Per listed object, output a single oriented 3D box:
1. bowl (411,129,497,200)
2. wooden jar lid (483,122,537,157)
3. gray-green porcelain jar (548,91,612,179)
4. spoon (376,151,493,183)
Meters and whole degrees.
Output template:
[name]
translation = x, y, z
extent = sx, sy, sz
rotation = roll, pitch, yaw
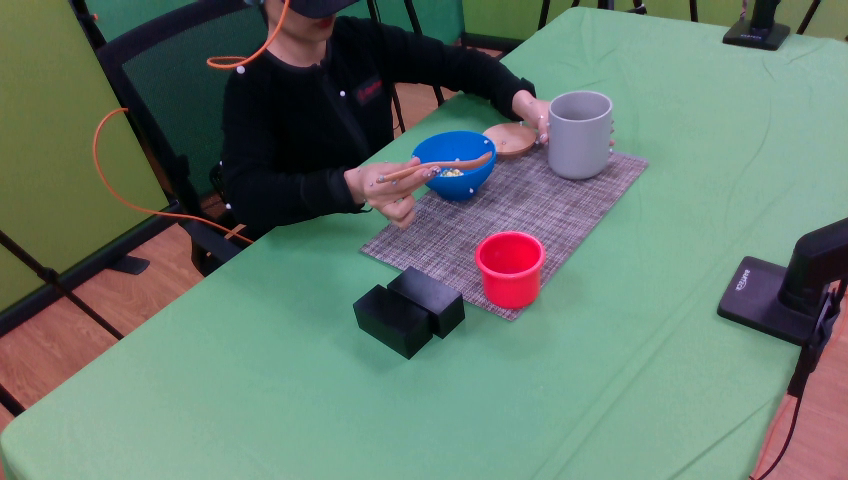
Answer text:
[bowl]
translation = 0.056, -0.124, 1.069
extent = 0.151, 0.077, 0.150
rotation = -6, 40, 5
[wooden jar lid]
translation = 0.165, -0.195, 1.177
extent = 0.108, 0.021, 0.108
rotation = -4, 40, 4
[gray-green porcelain jar]
translation = 0.271, -0.179, 1.056
extent = 0.106, 0.127, 0.105
rotation = -6, 40, 5
[spoon]
translation = 0.017, -0.099, 0.817
extent = 0.195, 0.021, 0.041
rotation = -13, 1, -32
